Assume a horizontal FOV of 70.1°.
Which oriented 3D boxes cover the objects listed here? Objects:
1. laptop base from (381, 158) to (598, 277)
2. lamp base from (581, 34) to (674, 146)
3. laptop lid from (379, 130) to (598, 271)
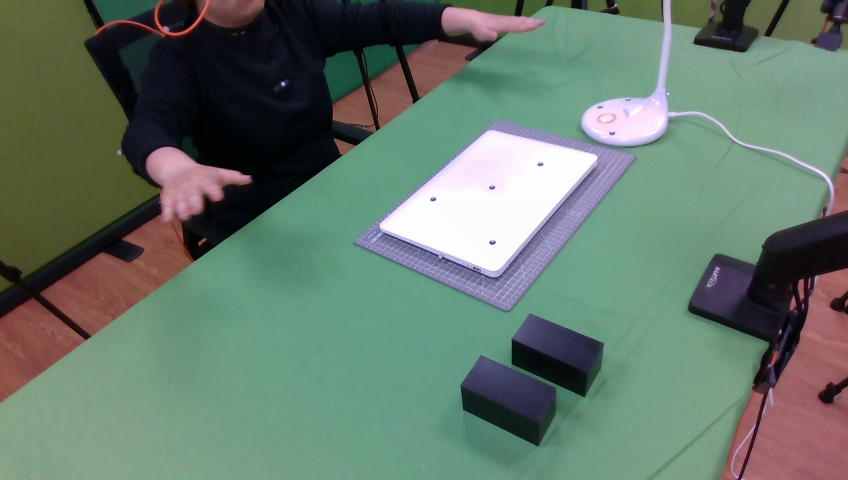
[{"bbox_3d":[0.120,-0.077,1.043,0.233,0.023,0.355,20,47,32],"label":"laptop base"},{"bbox_3d":[0.392,-0.291,1.129,0.180,0.181,0.159,-11,41,-8],"label":"lamp base"},{"bbox_3d":[0.117,-0.087,1.037,0.240,0.013,0.358,22,48,33],"label":"laptop lid"}]
